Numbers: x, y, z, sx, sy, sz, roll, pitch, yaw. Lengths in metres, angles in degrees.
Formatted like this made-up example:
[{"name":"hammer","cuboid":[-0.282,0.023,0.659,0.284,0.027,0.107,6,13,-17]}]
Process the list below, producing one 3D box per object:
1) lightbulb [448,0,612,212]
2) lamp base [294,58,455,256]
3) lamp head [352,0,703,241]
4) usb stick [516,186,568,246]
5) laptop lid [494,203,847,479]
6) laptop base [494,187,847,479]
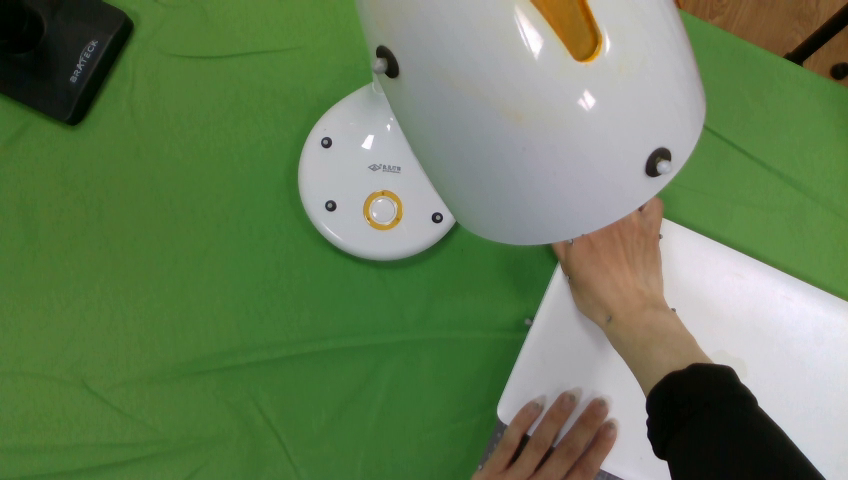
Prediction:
[{"name":"lightbulb","cuboid":[0.036,-0.055,0.229,0.059,0.109,0.059,-14,48,17]},{"name":"lamp base","cuboid":[-0.040,-0.086,0.493,0.161,0.180,0.178,-6,81,-3]},{"name":"lamp head","cuboid":[0.026,-0.078,0.211,0.112,0.111,0.124,-46,129,-6]},{"name":"usb stick","cuboid":[0.115,-0.020,0.566,0.021,0.027,0.059,-41,93,-15]},{"name":"laptop lid","cuboid":[0.267,0.124,0.554,0.356,0.013,0.241,26,85,1]},{"name":"laptop base","cuboid":[0.268,0.124,0.566,0.354,0.023,0.235,24,86,0]}]
